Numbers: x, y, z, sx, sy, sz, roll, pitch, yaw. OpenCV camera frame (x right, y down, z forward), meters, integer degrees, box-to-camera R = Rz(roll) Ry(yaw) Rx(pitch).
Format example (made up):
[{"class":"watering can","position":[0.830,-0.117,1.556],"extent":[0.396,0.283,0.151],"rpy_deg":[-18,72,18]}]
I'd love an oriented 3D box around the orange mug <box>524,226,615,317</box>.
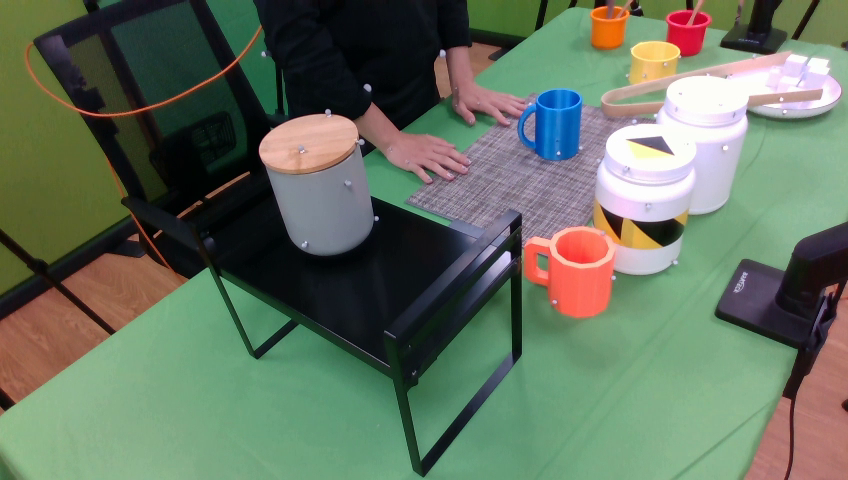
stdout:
[{"class":"orange mug","position":[0.201,0.039,0.845],"extent":[0.125,0.101,0.083],"rpy_deg":[18,46,21]}]

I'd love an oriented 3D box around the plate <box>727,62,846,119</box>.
[{"class":"plate","position":[0.709,-0.292,1.197],"extent":[0.207,0.039,0.206],"rpy_deg":[-4,40,4]}]

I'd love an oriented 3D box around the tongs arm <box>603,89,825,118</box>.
[{"class":"tongs arm","position":[0.546,-0.262,1.163],"extent":[0.386,0.028,0.028],"rpy_deg":[-1,49,18]}]

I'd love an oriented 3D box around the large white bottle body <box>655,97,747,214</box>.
[{"class":"large white bottle body","position":[0.430,-0.148,0.959],"extent":[0.130,0.185,0.130],"rpy_deg":[-4,41,4]}]

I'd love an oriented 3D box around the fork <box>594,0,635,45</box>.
[{"class":"fork","position":[0.484,-0.552,1.447],"extent":[0.207,0.019,0.028],"rpy_deg":[-51,46,17]}]

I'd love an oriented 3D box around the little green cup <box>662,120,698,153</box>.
[{"class":"little green cup","position":[0.470,-0.191,1.117],"extent":[0.061,0.039,0.061],"rpy_deg":[-5,40,5]}]

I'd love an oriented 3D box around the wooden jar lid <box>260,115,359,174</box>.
[{"class":"wooden jar lid","position":[-0.124,-0.101,0.662],"extent":[0.108,0.021,0.108],"rpy_deg":[-4,41,4]}]

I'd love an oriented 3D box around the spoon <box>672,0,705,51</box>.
[{"class":"spoon","position":[0.628,-0.521,1.395],"extent":[0.041,0.022,0.193],"rpy_deg":[30,97,39]}]

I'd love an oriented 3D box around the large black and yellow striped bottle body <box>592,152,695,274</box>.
[{"class":"large black and yellow striped bottle body","position":[0.313,-0.056,0.872],"extent":[0.131,0.185,0.130],"rpy_deg":[-4,41,4]}]

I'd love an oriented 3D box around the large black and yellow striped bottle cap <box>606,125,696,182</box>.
[{"class":"large black and yellow striped bottle cap","position":[0.305,-0.119,0.816],"extent":[0.115,0.019,0.114],"rpy_deg":[-5,41,5]}]

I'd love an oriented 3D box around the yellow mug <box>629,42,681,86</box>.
[{"class":"yellow mug","position":[0.495,-0.389,1.321],"extent":[0.100,0.064,0.130],"rpy_deg":[-14,40,-6]}]

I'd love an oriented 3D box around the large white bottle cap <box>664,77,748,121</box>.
[{"class":"large white bottle cap","position":[0.421,-0.212,0.905],"extent":[0.115,0.018,0.114],"rpy_deg":[-4,40,4]}]

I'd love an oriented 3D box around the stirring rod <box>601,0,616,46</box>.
[{"class":"stirring rod","position":[0.452,-0.554,1.464],"extent":[0.014,0.006,0.176],"rpy_deg":[11,86,15]}]

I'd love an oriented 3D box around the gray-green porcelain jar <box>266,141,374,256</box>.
[{"class":"gray-green porcelain jar","position":[-0.117,-0.054,0.703],"extent":[0.106,0.127,0.105],"rpy_deg":[-4,40,4]}]

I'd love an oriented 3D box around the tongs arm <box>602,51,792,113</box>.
[{"class":"tongs arm","position":[0.552,-0.320,1.224],"extent":[0.384,0.027,0.050],"rpy_deg":[-10,43,7]}]

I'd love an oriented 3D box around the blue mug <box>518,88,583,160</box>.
[{"class":"blue mug","position":[0.233,-0.213,1.121],"extent":[0.116,0.106,0.082],"rpy_deg":[-6,41,3]}]
